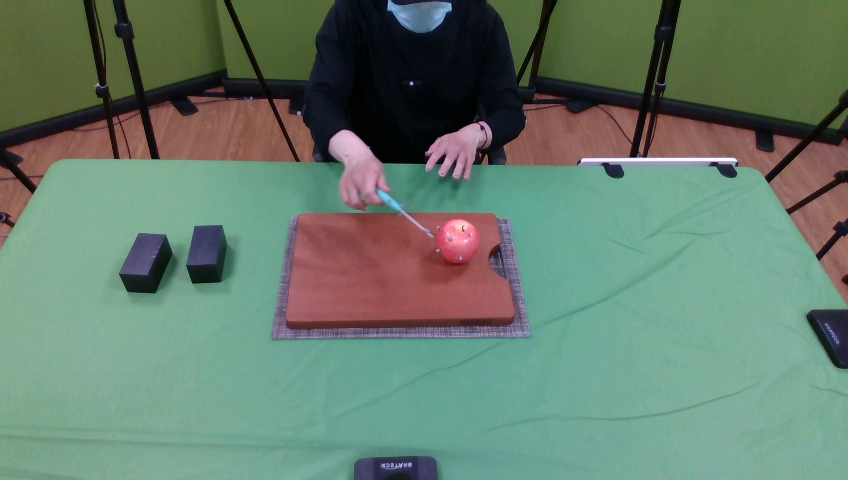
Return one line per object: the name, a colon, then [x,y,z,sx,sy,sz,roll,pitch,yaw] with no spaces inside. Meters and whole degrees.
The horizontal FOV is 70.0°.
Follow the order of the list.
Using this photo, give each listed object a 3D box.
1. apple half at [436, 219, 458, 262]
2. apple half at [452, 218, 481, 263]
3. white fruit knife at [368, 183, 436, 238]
apple half: [0.039,0.005,1.115,0.033,0.081,0.080,-2,46,-11]
apple half: [0.077,0.003,1.122,0.053,0.075,0.080,-1,42,-11]
white fruit knife: [-0.042,-0.055,1.096,0.016,0.027,0.206,-49,51,-3]
